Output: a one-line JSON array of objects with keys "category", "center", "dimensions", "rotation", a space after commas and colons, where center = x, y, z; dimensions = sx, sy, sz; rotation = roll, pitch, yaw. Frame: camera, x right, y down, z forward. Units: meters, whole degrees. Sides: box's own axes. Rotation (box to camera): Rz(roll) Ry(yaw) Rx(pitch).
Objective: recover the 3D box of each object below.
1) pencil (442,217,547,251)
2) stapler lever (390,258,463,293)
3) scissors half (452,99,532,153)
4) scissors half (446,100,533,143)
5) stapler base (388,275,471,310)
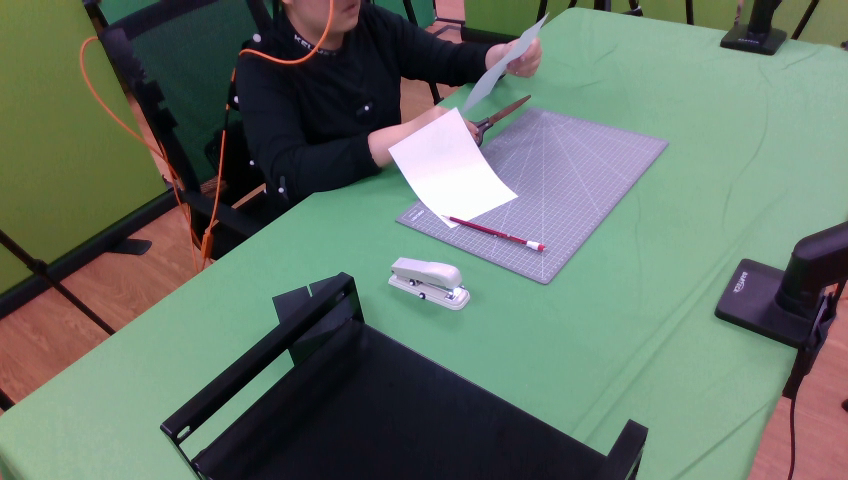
[{"category": "pencil", "center": [0.110, -0.012, 0.980], "dimensions": [0.192, 0.012, 0.012], "rotation": [18, 46, 30]}, {"category": "stapler lever", "center": [0.003, 0.046, 0.881], "dimensions": [0.117, 0.040, 0.027], "rotation": [17, 44, 29]}, {"category": "scissors half", "center": [0.129, -0.212, 1.120], "dimensions": [0.175, 0.013, 0.040], "rotation": [-35, 58, -3]}, {"category": "scissors half", "center": [0.122, -0.227, 1.131], "dimensions": [0.175, 0.013, 0.039], "rotation": [-21, 53, 6]}, {"category": "stapler base", "center": [0.007, 0.066, 0.897], "dimensions": [0.129, 0.024, 0.041], "rotation": [17, 43, 29]}]
